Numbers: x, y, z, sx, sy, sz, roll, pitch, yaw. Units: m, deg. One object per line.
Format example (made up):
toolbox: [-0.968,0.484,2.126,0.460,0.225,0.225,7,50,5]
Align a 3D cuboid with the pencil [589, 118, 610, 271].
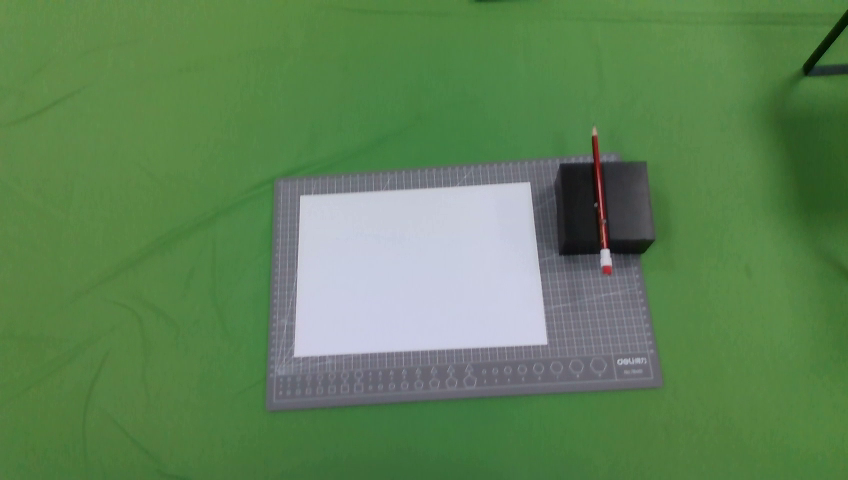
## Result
pencil: [0.201,-0.057,0.701,0.012,0.012,0.192,-1,71,4]
